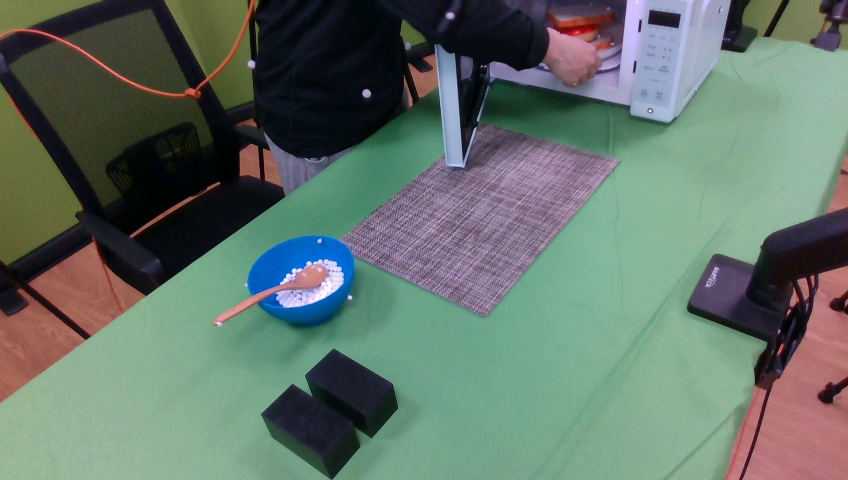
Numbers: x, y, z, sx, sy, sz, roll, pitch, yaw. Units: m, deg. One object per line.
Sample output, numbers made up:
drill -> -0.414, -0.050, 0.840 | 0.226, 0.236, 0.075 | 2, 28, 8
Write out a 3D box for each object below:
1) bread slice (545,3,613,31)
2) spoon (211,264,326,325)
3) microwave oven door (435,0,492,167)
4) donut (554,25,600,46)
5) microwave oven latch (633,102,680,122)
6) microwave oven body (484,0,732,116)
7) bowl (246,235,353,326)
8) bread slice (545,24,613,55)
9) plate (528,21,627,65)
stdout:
bread slice -> 0.331, -0.476, 1.282 | 0.131, 0.019, 0.104 | -9, 37, 1
spoon -> -0.207, 0.072, 0.822 | 0.041, 0.021, 0.195 | 27, 29, 27
microwave oven door -> 0.083, -0.340, 1.159 | 0.039, 0.245, 0.355 | 4, 42, 14
donut -> 0.327, -0.447, 1.294 | 0.099, 0.048, 0.098 | -3, 34, 2
microwave oven latch -> 0.443, -0.250, 1.158 | 0.078, 0.029, 0.030 | 21, 49, 30
microwave oven body -> 0.377, -0.463, 1.267 | 0.438, 0.261, 0.327 | 21, 49, 30
bowl -> -0.170, 0.070, 0.868 | 0.151, 0.077, 0.150 | -4, 41, 4
bread slice -> 0.340, -0.438, 1.317 | 0.134, 0.018, 0.106 | -11, 49, -6
plate -> 0.332, -0.431, 1.318 | 0.207, 0.039, 0.206 | -4, 41, 4
